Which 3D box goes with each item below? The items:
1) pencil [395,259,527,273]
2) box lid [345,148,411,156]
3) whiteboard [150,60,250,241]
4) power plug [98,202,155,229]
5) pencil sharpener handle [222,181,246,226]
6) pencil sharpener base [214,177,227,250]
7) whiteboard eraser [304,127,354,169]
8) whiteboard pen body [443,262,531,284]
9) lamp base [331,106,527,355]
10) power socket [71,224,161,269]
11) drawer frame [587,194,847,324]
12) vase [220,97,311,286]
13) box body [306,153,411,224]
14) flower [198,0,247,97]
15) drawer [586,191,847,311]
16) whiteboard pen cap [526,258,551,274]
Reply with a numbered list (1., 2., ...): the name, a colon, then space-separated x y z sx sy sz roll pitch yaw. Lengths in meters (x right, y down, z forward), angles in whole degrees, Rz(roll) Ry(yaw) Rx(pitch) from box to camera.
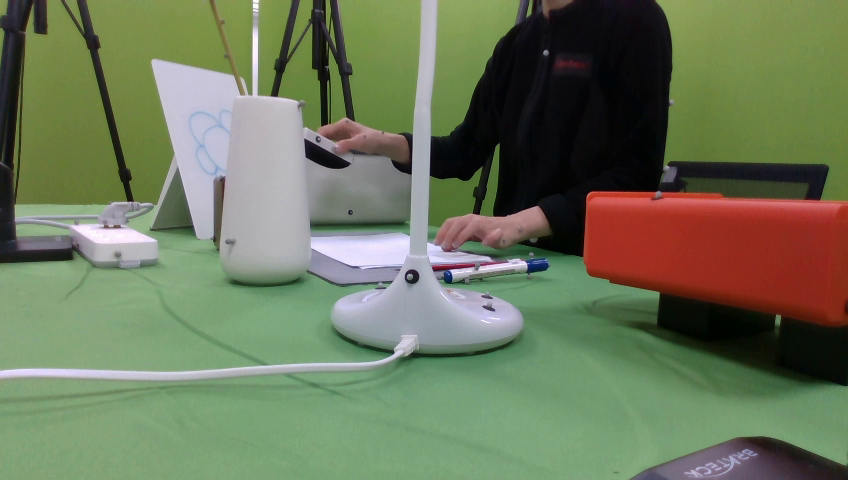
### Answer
1. pencil: 0.053 0.035 0.783 0.195 0.012 0.012 -3 9 -25
2. box lid: -0.229 -0.200 1.360 0.373 0.015 0.262 -3 9 -33
3. whiteboard: -0.408 -0.139 1.093 0.143 0.305 0.218 -15 -1 26
4. power plug: -0.416 -0.027 0.848 0.073 0.052 0.035 0 8 -28
5. pencil sharpener handle: -0.289 -0.055 0.912 0.036 0.067 0.030 -3 9 -29
6. pencil sharpener base: -0.265 -0.036 0.870 0.061 0.107 0.076 -2 8 -29
7. whiteboard eraser: -0.184 -0.159 1.074 0.055 0.042 0.113 -3 -19 44
8. whiteboard pen body: 0.087 0.038 0.734 0.141 0.017 0.017 -5 10 -27
9. lamp base: 0.006 -0.012 0.478 0.161 0.180 0.179 2 10 2
10. power socket: -0.408 0.004 0.793 0.072 0.032 0.225 -2 8 -38
11. drawer frame: 0.285 0.004 0.508 0.203 0.082 0.212 -1 6 -30
12. vase: -0.172 -0.052 0.662 0.098 0.200 0.098 3 8 0
13. box body: -0.230 -0.126 1.371 0.366 0.160 0.253 -2 9 -33
14. flower: -0.187 -0.133 0.648 0.038 0.362 0.044 -1 22 43
15. drawer: 0.281 0.001 0.513 0.195 0.073 0.210 -1 8 -29
16. whiteboard pen cap: 0.141 0.033 0.759 0.033 0.018 0.018 -8 11 -26
